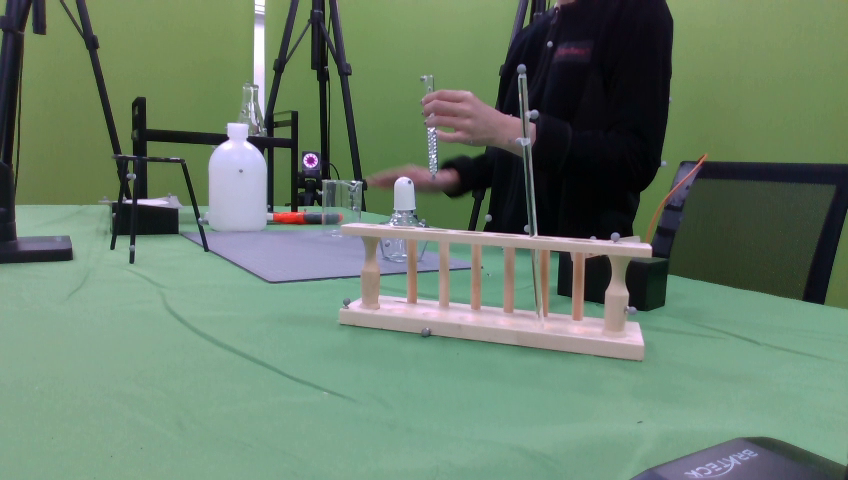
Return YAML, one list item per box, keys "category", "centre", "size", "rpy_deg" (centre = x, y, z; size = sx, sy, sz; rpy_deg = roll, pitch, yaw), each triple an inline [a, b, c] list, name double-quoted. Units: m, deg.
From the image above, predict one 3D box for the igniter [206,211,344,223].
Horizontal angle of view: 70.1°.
- category: "igniter"
  centre: [-0.302, -0.048, 1.249]
  size: [0.278, 0.025, 0.057]
  rpy_deg: [-2, -2, -26]

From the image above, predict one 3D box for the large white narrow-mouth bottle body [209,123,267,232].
- category: "large white narrow-mouth bottle body"
  centre: [-0.340, -0.115, 1.109]
  size: [0.102, 0.194, 0.102]
  rpy_deg: [2, 8, 0]

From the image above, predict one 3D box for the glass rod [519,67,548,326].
- category: "glass rod"
  centre: [0.084, -0.029, 0.459]
  size: [0.008, 0.199, 0.008]
  rpy_deg: [-7, 11, 2]

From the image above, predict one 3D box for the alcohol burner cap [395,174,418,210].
- category: "alcohol burner cap"
  centre: [-0.026, -0.067, 0.834]
  size: [0.034, 0.048, 0.034]
  rpy_deg: [-1, 12, 1]

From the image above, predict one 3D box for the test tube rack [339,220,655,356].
- category: "test tube rack"
  centre: [0.056, 0.032, 0.495]
  size: [0.242, 0.085, 0.067]
  rpy_deg: [4, 7, 15]

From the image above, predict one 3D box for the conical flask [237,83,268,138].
- category: "conical flask"
  centre: [-0.402, -0.299, 1.406]
  size: [0.075, 0.122, 0.075]
  rpy_deg: [2, 7, 0]

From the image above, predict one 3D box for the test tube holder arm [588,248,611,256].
- category: "test tube holder arm"
  centre: [0.180, 0.006, 0.611]
  size: [0.010, 0.015, 0.088]
  rpy_deg: [-3, 2, 36]

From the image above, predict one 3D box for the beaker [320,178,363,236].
- category: "beaker"
  centre: [-0.145, -0.059, 1.079]
  size: [0.074, 0.100, 0.083]
  rpy_deg: [-4, 10, -36]

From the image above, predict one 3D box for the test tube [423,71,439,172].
- category: "test tube"
  centre: [0.011, -0.178, 0.916]
  size: [0.017, 0.150, 0.017]
  rpy_deg: [-4, 15, 1]

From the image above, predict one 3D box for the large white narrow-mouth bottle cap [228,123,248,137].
- category: "large white narrow-mouth bottle cap"
  centre: [-0.338, -0.199, 1.097]
  size: [0.038, 0.024, 0.037]
  rpy_deg: [2, 8, 0]

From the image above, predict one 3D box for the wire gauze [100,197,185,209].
- category: "wire gauze"
  centre: [-0.469, -0.062, 1.008]
  size: [0.126, 0.011, 0.121]
  rpy_deg: [-2, 8, -25]

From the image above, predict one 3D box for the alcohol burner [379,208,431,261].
- category: "alcohol burner"
  centre: [-0.027, -0.031, 0.838]
  size: [0.078, 0.119, 0.078]
  rpy_deg: [0, 6, 0]

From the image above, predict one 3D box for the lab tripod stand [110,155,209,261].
- category: "lab tripod stand"
  centre: [-0.361, -0.046, 0.806]
  size: [0.148, 0.131, 0.148]
  rpy_deg: [2, 5, 0]

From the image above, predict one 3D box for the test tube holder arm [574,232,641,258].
- category: "test tube holder arm"
  centre: [0.202, 0.003, 0.651]
  size: [0.013, 0.015, 0.179]
  rpy_deg: [-4, 2, 36]
